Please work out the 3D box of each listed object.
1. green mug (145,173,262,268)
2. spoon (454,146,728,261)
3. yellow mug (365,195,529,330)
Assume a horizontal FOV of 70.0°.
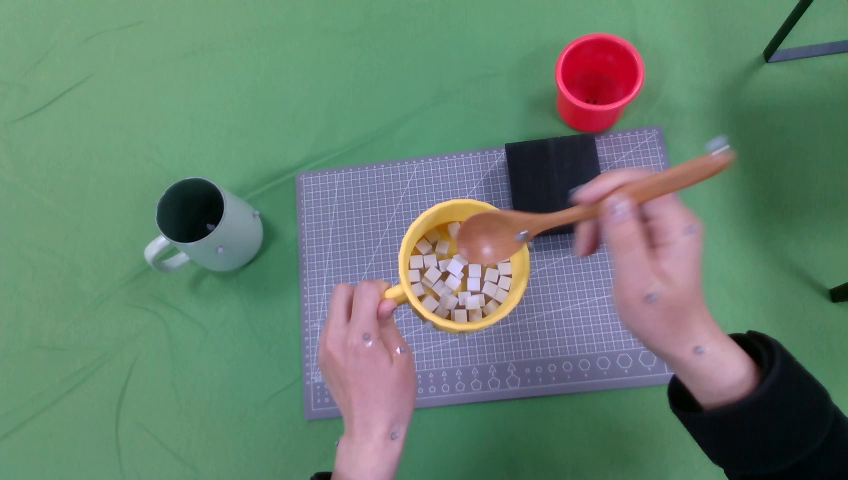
[{"bbox_3d":[-0.258,-0.011,0.695,0.125,0.105,0.092,-38,75,-5],"label":"green mug"},{"bbox_3d":[0.090,-0.018,0.373,0.021,0.193,0.042,-44,107,-38],"label":"spoon"},{"bbox_3d":[0.014,0.026,0.479,0.131,0.064,0.099,-24,82,-5],"label":"yellow mug"}]
